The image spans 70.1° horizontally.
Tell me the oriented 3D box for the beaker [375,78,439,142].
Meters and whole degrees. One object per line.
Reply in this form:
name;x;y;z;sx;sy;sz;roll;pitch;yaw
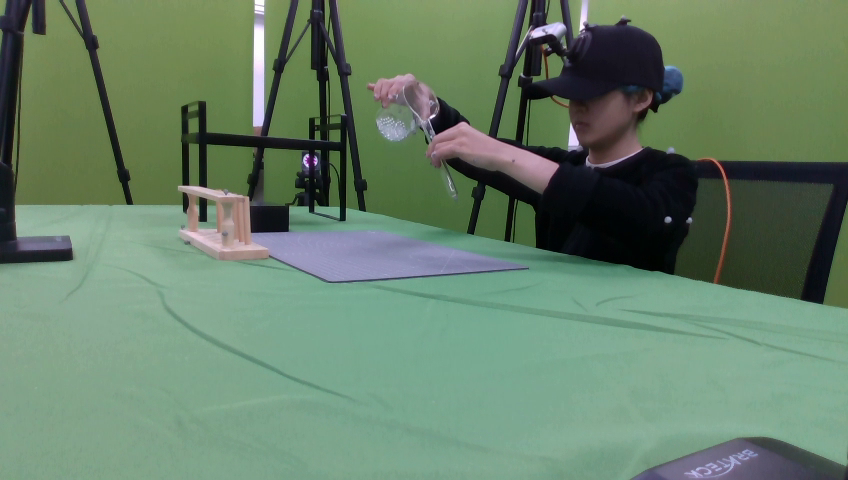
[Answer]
beaker;-0.032;-0.220;1.048;0.074;0.084;0.100;0;-19;-39

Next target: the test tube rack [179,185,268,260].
test tube rack;-0.303;-0.031;0.898;0.067;0.085;0.241;-2;8;-33

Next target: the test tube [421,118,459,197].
test tube;0.026;-0.135;0.977;0.017;0.150;0.017;-17;-22;-7
